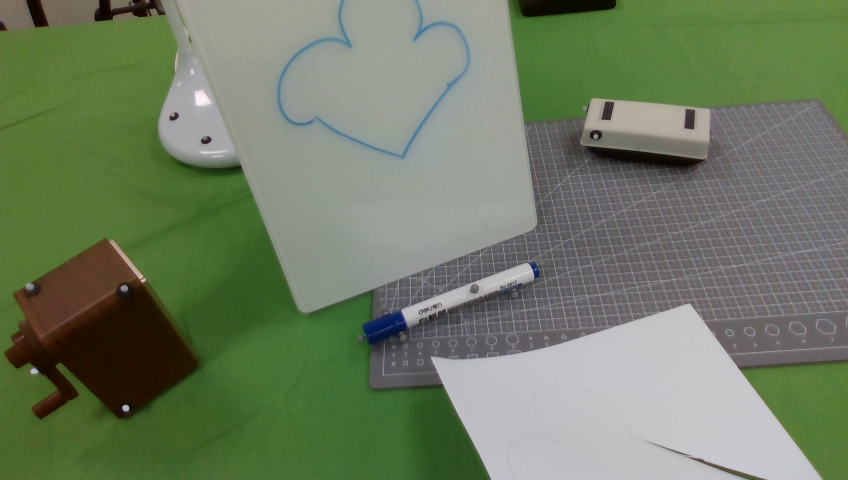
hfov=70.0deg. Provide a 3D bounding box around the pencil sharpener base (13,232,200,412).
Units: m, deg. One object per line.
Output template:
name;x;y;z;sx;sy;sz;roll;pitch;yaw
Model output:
pencil sharpener base;-0.220;0.062;0.428;0.076;0.108;0.061;-37;55;-24

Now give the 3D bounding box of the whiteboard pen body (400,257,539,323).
whiteboard pen body;0.025;0.043;0.471;0.141;0.017;0.017;-20;49;-10

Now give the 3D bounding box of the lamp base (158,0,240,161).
lamp base;-0.223;-0.197;0.608;0.177;0.182;0.160;29;57;31

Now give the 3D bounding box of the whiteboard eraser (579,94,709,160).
whiteboard eraser;0.207;-0.106;0.572;0.112;0.042;0.055;10;51;15

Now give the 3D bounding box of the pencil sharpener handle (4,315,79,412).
pencil sharpener handle;-0.256;0.083;0.395;0.030;0.068;0.035;-38;42;-24

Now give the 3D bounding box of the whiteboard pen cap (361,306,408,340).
whiteboard pen cap;-0.030;0.063;0.460;0.033;0.018;0.018;-21;49;-10

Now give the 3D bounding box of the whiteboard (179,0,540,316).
whiteboard;-0.051;-0.133;0.489;0.217;0.308;0.142;-20;30;-10
